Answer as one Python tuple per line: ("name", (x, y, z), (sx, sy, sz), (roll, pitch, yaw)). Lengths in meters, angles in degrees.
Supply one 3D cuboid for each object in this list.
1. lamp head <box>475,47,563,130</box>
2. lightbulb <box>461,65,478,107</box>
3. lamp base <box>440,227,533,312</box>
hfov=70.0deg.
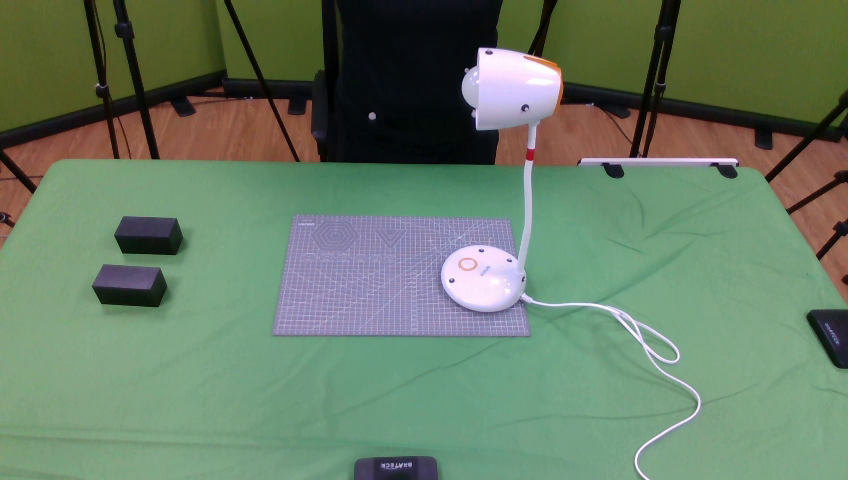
("lamp head", (0.129, -0.206, 0.840), (0.123, 0.113, 0.112), (5, 45, -1))
("lightbulb", (0.106, -0.214, 0.850), (0.108, 0.060, 0.059), (4, 45, -2))
("lamp base", (0.126, 0.021, 1.073), (0.179, 0.181, 0.160), (22, 49, 13))
